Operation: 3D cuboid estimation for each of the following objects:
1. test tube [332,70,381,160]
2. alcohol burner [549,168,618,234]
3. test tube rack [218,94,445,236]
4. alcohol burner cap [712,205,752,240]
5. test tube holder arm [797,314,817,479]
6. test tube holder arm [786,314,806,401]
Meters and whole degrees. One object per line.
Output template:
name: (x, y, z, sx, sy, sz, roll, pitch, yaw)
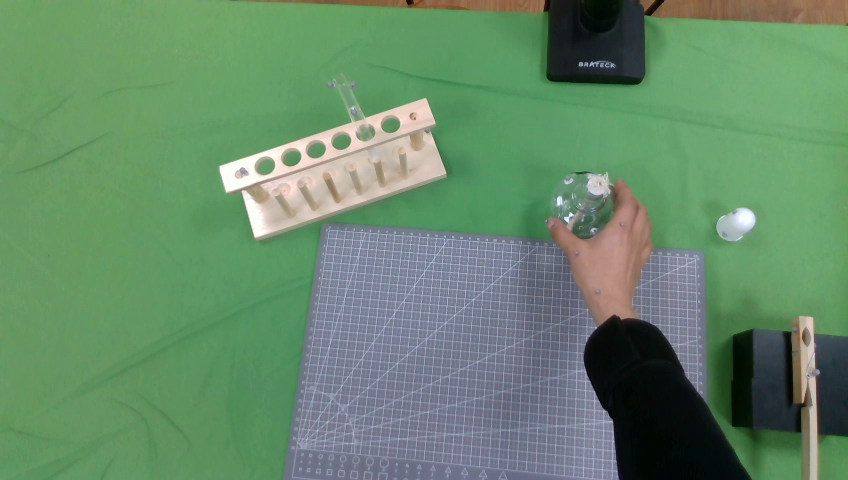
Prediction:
test tube: (-0.071, -0.130, 0.662, 0.017, 0.151, 0.017, -4, 64, 9)
alcohol burner: (0.178, -0.049, 0.669, 0.078, 0.120, 0.077, -1, 76, 5)
test tube rack: (-0.101, -0.084, 0.705, 0.242, 0.085, 0.066, -19, 74, -2)
alcohol burner cap: (0.354, -0.022, 0.691, 0.034, 0.048, 0.033, -1, 74, 4)
test tube holder arm: (0.380, 0.163, 0.603, 0.013, 0.015, 0.177, 3, 76, 3)
test tube holder arm: (0.377, 0.119, 0.614, 0.010, 0.015, 0.087, 4, 76, 4)
